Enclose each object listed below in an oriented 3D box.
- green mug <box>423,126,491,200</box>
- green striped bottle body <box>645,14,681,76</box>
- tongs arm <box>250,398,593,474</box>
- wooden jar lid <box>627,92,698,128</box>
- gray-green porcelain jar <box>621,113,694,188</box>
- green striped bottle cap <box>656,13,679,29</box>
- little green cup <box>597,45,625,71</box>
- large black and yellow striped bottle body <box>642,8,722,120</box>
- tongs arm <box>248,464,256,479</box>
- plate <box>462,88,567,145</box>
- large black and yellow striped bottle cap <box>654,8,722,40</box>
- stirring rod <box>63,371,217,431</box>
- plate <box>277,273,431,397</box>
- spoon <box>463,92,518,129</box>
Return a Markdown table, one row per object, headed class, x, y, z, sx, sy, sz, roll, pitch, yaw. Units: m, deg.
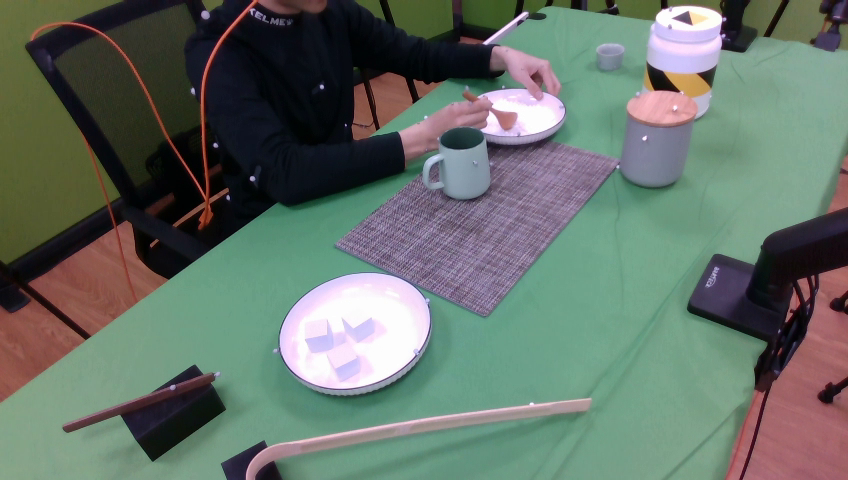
| class | x | y | z | sx | sy | sz | roll | pitch | yaw |
| --- | --- | --- | --- | --- | --- | --- | --- | --- | --- |
| green mug | 0.055 | -0.125 | 1.039 | 0.126 | 0.105 | 0.091 | -25 | 44 | -19 |
| green striped bottle body | 0.520 | -0.424 | 1.312 | 0.063 | 0.120 | 0.063 | -4 | 41 | 4 |
| tongs arm | 0.008 | 0.212 | 0.675 | 0.389 | 0.028 | 0.028 | -5 | 46 | -11 |
| wooden jar lid | 0.384 | -0.207 | 0.980 | 0.108 | 0.021 | 0.108 | -6 | 39 | 5 |
| gray-green porcelain jar | 0.390 | -0.161 | 1.020 | 0.106 | 0.127 | 0.105 | -4 | 41 | 4 |
| green striped bottle cap | 0.515 | -0.463 | 1.278 | 0.044 | 0.020 | 0.044 | -6 | 42 | 6 |
| little green cup | 0.423 | -0.413 | 1.375 | 0.061 | 0.039 | 0.061 | -3 | 41 | 3 |
| large black and yellow striped bottle body | 0.493 | -0.334 | 1.161 | 0.131 | 0.185 | 0.130 | -4 | 41 | 4 |
| tongs arm | 0.012 | 0.262 | 0.615 | 0.385 | 0.026 | 0.050 | 3 | 42 | -2 |
| plate | 0.180 | -0.244 | 1.211 | 0.209 | 0.038 | 0.208 | -3 | 39 | 3 |
| large black and yellow striped bottle cap | 0.483 | -0.397 | 1.108 | 0.115 | 0.019 | 0.114 | -3 | 41 | 3 |
| stirring rod | -0.337 | 0.192 | 0.723 | 0.177 | 0.014 | 0.005 | -18 | 43 | -12 |
| plate | -0.091 | 0.129 | 0.821 | 0.207 | 0.039 | 0.206 | -4 | 40 | 4 |
| spoon | 0.124 | -0.243 | 1.129 | 0.195 | 0.041 | 0.021 | 13 | 38 | -52 |
